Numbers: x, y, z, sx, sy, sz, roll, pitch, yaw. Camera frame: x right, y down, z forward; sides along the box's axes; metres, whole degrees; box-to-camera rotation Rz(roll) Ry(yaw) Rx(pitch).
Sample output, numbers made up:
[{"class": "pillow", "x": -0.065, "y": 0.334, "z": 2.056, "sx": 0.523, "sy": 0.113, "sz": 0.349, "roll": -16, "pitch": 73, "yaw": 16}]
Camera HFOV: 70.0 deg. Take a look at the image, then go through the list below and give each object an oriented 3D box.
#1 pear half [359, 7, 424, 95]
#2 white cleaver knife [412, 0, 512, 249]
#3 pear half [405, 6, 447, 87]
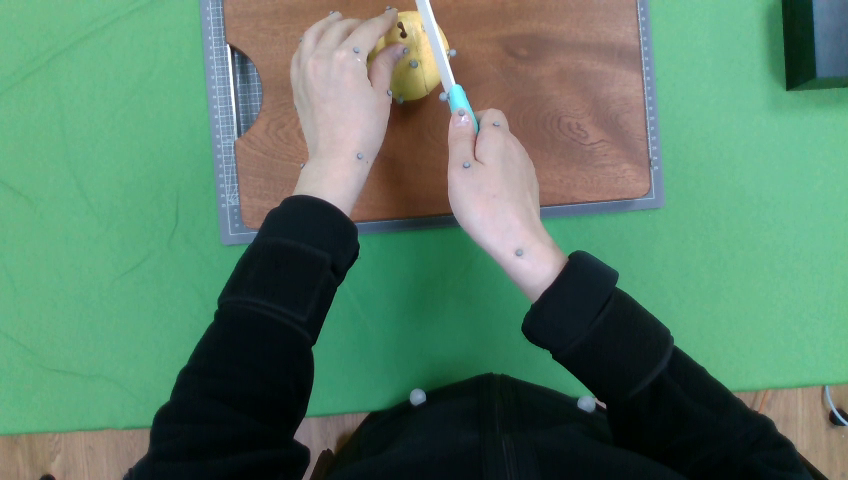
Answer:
[{"class": "pear half", "x": -0.031, "y": -0.169, "z": 0.534, "sx": 0.056, "sy": 0.110, "sz": 0.076, "roll": -18, "pitch": 84, "yaw": 0}, {"class": "white cleaver knife", "x": 0.017, "y": -0.130, "z": 0.469, "sx": 0.021, "sy": 0.065, "sz": 0.287, "roll": -18, "pitch": 96, "yaw": -1}, {"class": "pear half", "x": 0.004, "y": -0.178, "z": 0.543, "sx": 0.031, "sy": 0.088, "sz": 0.070, "roll": -18, "pitch": 83, "yaw": 1}]
